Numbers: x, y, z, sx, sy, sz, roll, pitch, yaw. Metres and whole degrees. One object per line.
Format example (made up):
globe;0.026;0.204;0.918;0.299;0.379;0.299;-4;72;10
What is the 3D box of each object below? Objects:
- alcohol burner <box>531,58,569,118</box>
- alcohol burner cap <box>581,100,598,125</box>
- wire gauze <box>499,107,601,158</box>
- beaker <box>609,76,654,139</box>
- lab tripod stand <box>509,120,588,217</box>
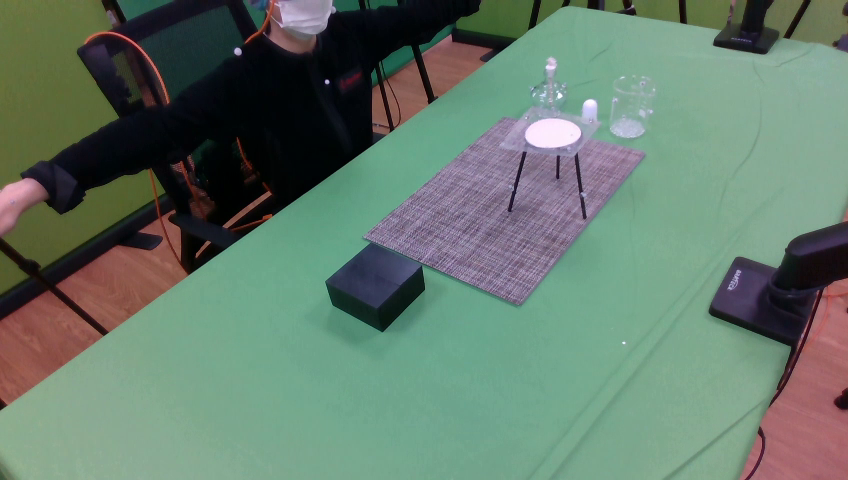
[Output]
alcohol burner;0.255;-0.311;1.227;0.078;0.119;0.077;-6;41;6
alcohol burner cap;0.331;-0.258;1.210;0.034;0.048;0.033;-5;41;5
wire gauze;0.198;-0.168;0.943;0.120;0.011;0.125;17;47;27
beaker;0.393;-0.248;1.144;0.074;0.101;0.083;-31;47;-24
lab tripod stand;0.208;-0.114;0.983;0.148;0.132;0.147;-5;42;5
